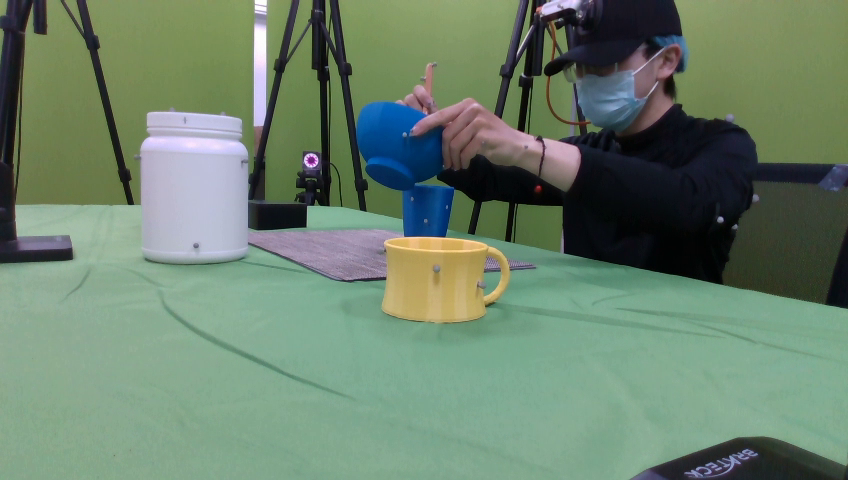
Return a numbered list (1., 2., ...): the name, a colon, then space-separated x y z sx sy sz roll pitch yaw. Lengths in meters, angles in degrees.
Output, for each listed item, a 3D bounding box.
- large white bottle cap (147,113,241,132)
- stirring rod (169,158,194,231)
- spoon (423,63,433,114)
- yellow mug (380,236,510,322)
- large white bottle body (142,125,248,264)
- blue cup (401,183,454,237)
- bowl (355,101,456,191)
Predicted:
1. large white bottle cap: -0.297 -0.151 0.786 0.115 0.018 0.115 2 7 0
2. stirring rod: -0.424 -0.082 1.060 0.014 0.006 0.175 2 50 -10
3. spoon: -0.001 -0.198 0.953 0.041 0.193 0.022 -11 -31 36
4. yellow mug: 0.024 0.034 0.575 0.131 0.064 0.099 0 7 -22
5. large white bottle body: -0.300 -0.068 0.797 0.131 0.184 0.130 2 7 0
6. blue cup: 0.003 -0.039 0.966 0.093 0.100 0.092 4 8 0
7. bowl: -0.038 -0.123 0.869 0.151 0.077 0.151 18 -19 6
